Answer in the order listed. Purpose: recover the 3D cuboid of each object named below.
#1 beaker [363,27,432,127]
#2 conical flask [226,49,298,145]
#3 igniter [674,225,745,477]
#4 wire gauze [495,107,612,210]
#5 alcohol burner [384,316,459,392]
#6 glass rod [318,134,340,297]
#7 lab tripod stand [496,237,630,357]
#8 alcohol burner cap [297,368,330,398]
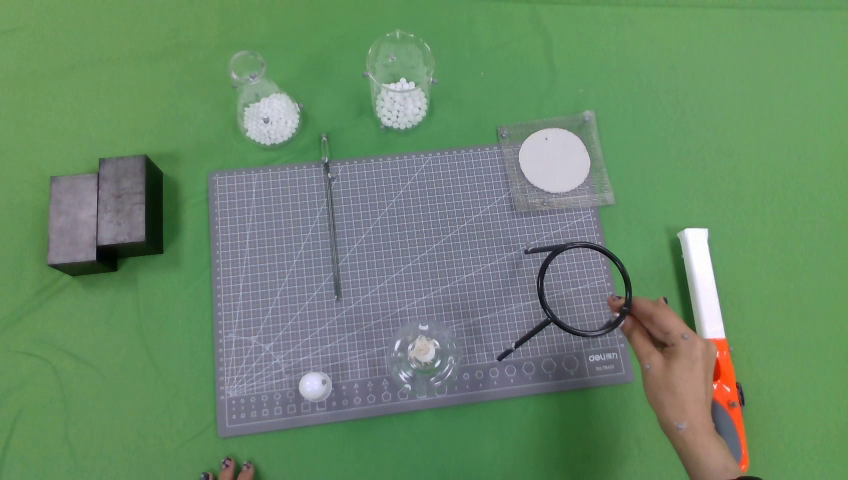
[{"bbox_3d":[-0.031,-0.184,0.701,0.074,0.101,0.083,-4,74,-4],"label":"beaker"},{"bbox_3d":[-0.186,-0.163,0.675,0.075,0.122,0.075,1,74,-2],"label":"conical flask"},{"bbox_3d":[0.316,0.116,0.674,0.057,0.025,0.275,1,75,-14],"label":"igniter"},{"bbox_3d":[0.156,-0.098,0.732,0.125,0.011,0.121,-7,75,-5],"label":"wire gauze"},{"bbox_3d":[-0.002,0.113,0.611,0.078,0.119,0.077,1,76,-2],"label":"alcohol burner"},{"bbox_3d":[-0.110,-0.032,0.698,0.008,0.008,0.198,-7,75,-5],"label":"glass rod"},{"bbox_3d":[0.137,0.061,0.615,0.149,0.132,0.147,2,76,-7],"label":"lab tripod stand"},{"bbox_3d":[-0.117,0.149,0.632,0.034,0.048,0.033,1,75,-3],"label":"alcohol burner cap"}]
